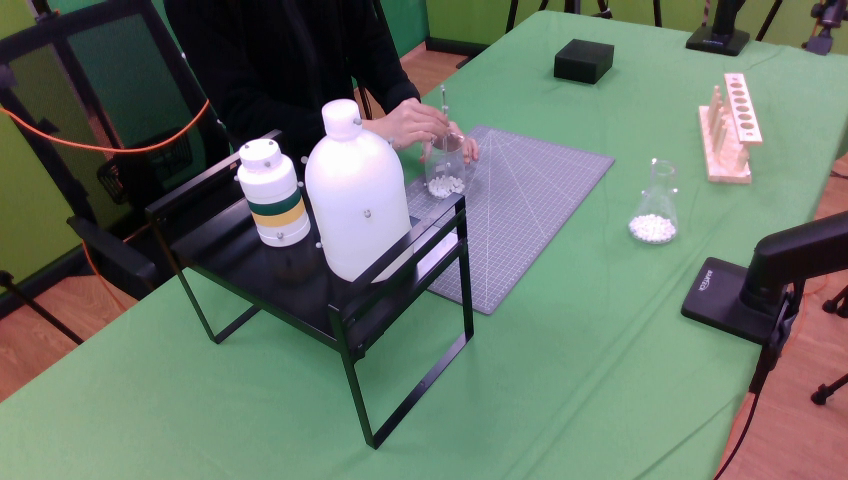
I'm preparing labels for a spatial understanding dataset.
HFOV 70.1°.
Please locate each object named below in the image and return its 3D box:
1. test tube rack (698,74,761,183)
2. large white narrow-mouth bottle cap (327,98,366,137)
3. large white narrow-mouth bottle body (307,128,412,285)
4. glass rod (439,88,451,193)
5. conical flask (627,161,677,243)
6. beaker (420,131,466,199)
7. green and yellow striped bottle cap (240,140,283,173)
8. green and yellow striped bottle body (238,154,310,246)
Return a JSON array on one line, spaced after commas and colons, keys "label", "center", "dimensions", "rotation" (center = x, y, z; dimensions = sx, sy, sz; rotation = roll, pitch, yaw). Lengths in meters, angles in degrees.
[{"label": "test tube rack", "center": [0.547, -0.208, 1.095], "dimensions": [0.066, 0.085, 0.242], "rotation": [5, 42, 15]}, {"label": "large white narrow-mouth bottle cap", "center": [-0.075, -0.118, 0.582], "dimensions": [0.038, 0.024, 0.037], "rotation": [-3, 40, 3]}, {"label": "large white narrow-mouth bottle body", "center": [-0.070, -0.051, 0.638], "dimensions": [0.102, 0.195, 0.101], "rotation": [-3, 40, 3]}, {"label": "glass rod", "center": [0.037, -0.160, 1.008], "dimensions": [0.008, 0.200, 0.008], "rotation": [-4, 39, 4]}, {"label": "conical flask", "center": [0.355, -0.061, 0.921], "dimensions": [0.075, 0.122, 0.075], "rotation": [-4, 41, 4]}, {"label": "beaker", "center": [0.039, -0.131, 1.060], "dimensions": [0.084, 0.101, 0.073], "rotation": [-23, 43, -19]}, {"label": "green and yellow striped bottle cap", "center": [-0.183, -0.094, 0.680], "dimensions": [0.045, 0.020, 0.045], "rotation": [-4, 38, 4]}, {"label": "green and yellow striped bottle body", "center": [-0.178, -0.056, 0.714], "dimensions": [0.063, 0.120, 0.063], "rotation": [-4, 40, 4]}]
